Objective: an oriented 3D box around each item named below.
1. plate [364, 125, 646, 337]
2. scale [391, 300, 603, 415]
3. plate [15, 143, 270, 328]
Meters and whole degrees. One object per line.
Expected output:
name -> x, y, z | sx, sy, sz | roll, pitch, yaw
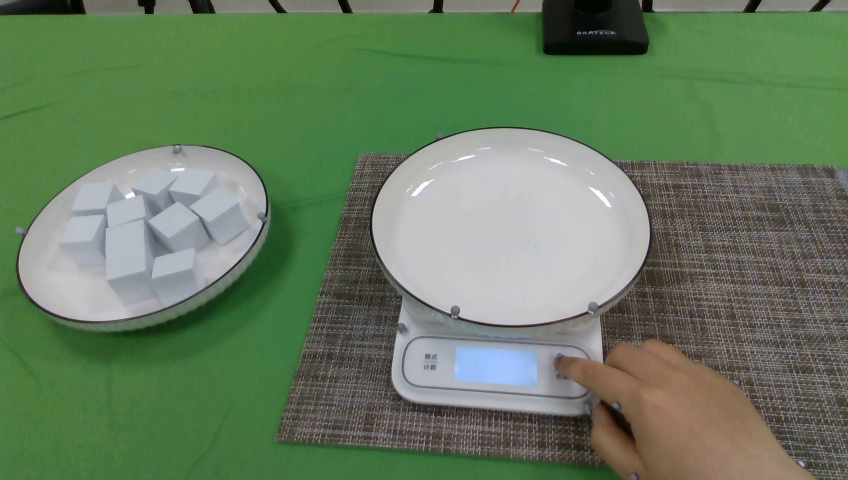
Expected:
plate -> 0.059, -0.009, 0.465 | 0.207, 0.039, 0.205 | -1, 49, 2
scale -> 0.059, 0.034, 0.471 | 0.148, 0.032, 0.199 | 3, 49, 7
plate -> -0.236, -0.005, 0.528 | 0.209, 0.038, 0.207 | -2, 48, 2
